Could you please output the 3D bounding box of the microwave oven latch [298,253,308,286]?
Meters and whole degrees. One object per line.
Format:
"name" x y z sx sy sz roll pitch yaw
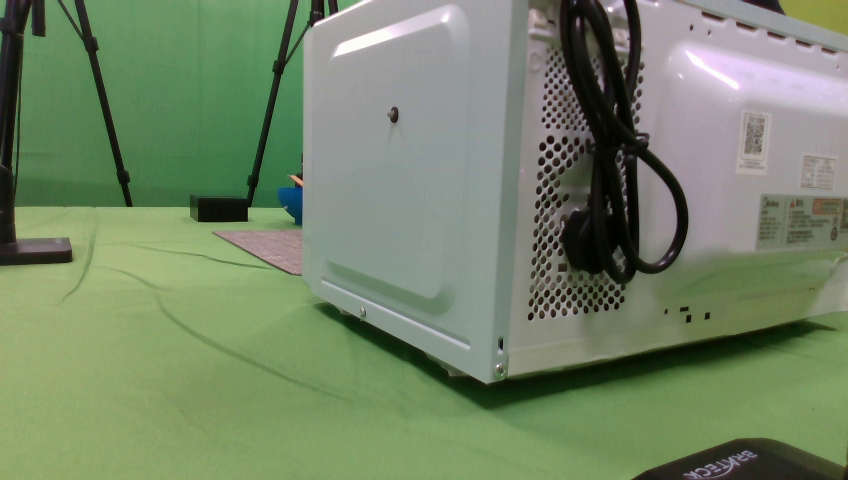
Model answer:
"microwave oven latch" -0.081 0.028 0.582 0.079 0.029 0.030 -2 7 -33

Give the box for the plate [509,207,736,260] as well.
"plate" 0.187 -0.008 0.588 0.208 0.039 0.207 1 6 0

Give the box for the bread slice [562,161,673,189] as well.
"bread slice" 0.185 -0.062 0.579 0.104 0.019 0.132 6 5 15

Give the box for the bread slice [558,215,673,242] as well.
"bread slice" 0.185 -0.011 0.580 0.107 0.018 0.134 -5 1 11

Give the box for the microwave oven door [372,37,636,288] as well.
"microwave oven door" 0.110 -0.080 0.686 0.358 0.243 0.039 -2 9 -33

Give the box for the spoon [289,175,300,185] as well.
"spoon" -0.261 -0.111 1.343 0.042 0.021 0.192 -8 33 -30

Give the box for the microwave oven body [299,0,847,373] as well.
"microwave oven body" 0.152 -0.055 0.542 0.444 0.260 0.324 -2 7 -33

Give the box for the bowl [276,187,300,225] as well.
"bowl" -0.241 -0.073 1.302 0.151 0.077 0.151 2 7 0

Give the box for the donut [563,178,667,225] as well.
"donut" 0.185 -0.037 0.587 0.099 0.048 0.099 -2 4 0
